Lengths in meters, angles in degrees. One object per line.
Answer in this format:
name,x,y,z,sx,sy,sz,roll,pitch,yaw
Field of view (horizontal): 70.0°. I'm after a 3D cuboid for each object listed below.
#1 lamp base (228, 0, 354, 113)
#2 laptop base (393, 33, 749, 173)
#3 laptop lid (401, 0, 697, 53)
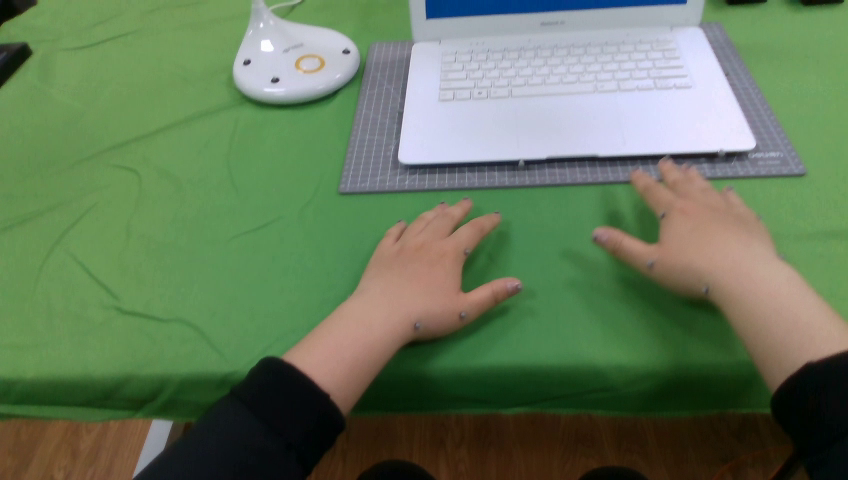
lamp base,-0.185,-0.270,0.723,0.177,0.182,0.160,28,55,33
laptop base,0.147,-0.156,0.682,0.354,0.023,0.233,-2,49,5
laptop lid,0.142,-0.334,0.690,0.356,0.244,0.013,-3,38,6
